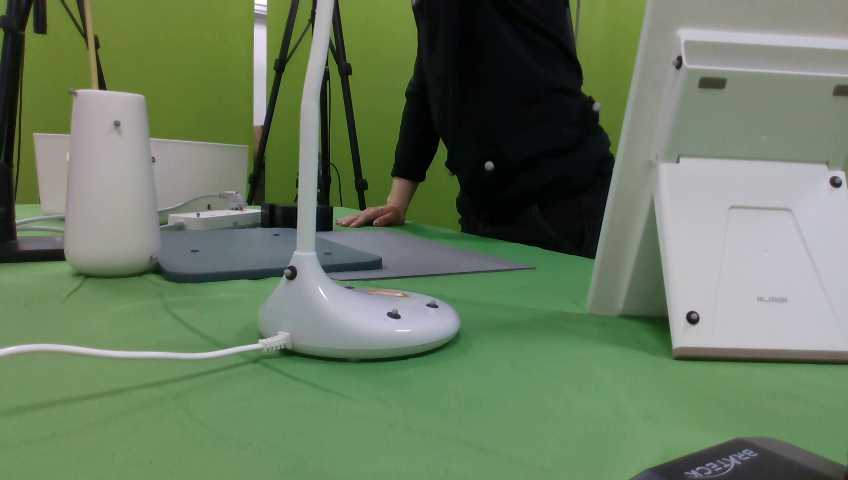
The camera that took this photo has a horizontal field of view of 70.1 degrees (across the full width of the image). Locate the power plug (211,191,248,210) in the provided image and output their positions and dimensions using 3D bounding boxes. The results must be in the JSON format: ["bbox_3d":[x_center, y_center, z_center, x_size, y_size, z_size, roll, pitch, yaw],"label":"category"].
[{"bbox_3d":[-0.384,-0.071,1.206,0.072,0.052,0.035,1,7,27],"label":"power plug"}]

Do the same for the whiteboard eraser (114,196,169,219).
[{"bbox_3d":[-0.546,-0.063,1.174,0.055,0.042,0.113,5,5,4],"label":"whiteboard eraser"}]

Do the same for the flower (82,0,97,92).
[{"bbox_3d":[-0.380,-0.339,0.668,0.038,0.361,0.044,-5,-1,12],"label":"flower"}]

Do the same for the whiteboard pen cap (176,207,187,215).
[{"bbox_3d":[-0.511,-0.062,1.274,0.018,0.018,0.033,1,9,-10],"label":"whiteboard pen cap"}]

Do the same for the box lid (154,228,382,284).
[{"bbox_3d":[-0.250,0.014,0.853,0.265,0.015,0.369,-3,9,-32],"label":"box lid"}]

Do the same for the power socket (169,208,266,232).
[{"bbox_3d":[-0.379,-0.038,1.130,0.072,0.032,0.227,4,8,18],"label":"power socket"}]

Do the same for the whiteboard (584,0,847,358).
[{"bbox_3d":[0.269,-0.034,0.466,0.217,0.305,0.143,2,27,-1],"label":"whiteboard"}]

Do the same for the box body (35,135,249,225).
[{"bbox_3d":[-0.561,-0.127,1.258,0.254,0.160,0.365,4,8,13],"label":"box body"}]

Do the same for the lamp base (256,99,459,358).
[{"bbox_3d":[-0.055,-0.013,0.463,0.160,0.180,0.180,6,11,27],"label":"lamp base"}]

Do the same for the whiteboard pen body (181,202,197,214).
[{"bbox_3d":[-0.519,-0.069,1.331,0.017,0.017,0.140,1,10,-11],"label":"whiteboard pen body"}]

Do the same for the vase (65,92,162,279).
[{"bbox_3d":[-0.347,-0.060,0.673,0.098,0.200,0.098,1,7,0],"label":"vase"}]
